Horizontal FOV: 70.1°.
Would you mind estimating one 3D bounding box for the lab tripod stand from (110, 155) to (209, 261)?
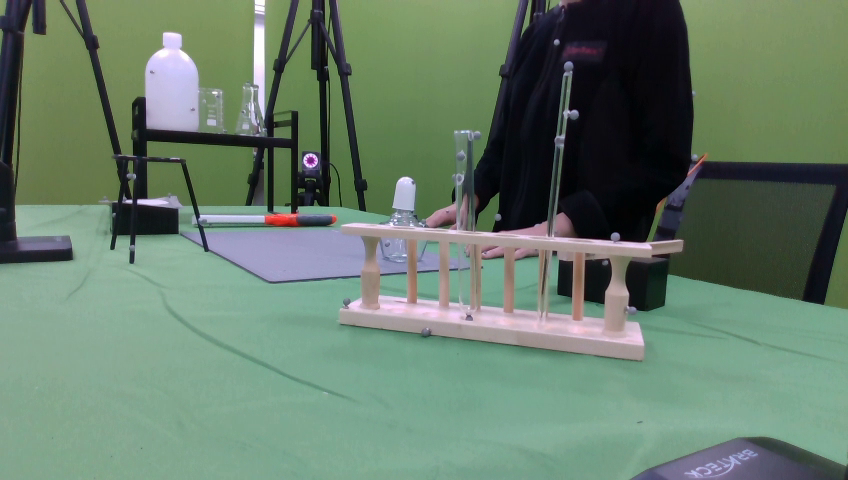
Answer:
[{"bbox_3d":[-0.361,-0.046,0.806,0.148,0.131,0.148,2,5,0],"label":"lab tripod stand"}]

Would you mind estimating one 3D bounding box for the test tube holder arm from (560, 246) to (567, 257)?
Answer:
[{"bbox_3d":[0.173,0.007,0.611,0.088,0.015,0.010,-3,9,-30],"label":"test tube holder arm"}]

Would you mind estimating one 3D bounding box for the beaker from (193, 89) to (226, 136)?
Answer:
[{"bbox_3d":[-0.485,-0.284,1.353,0.073,0.100,0.084,8,10,42],"label":"beaker"}]

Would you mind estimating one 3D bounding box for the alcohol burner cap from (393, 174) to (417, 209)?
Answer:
[{"bbox_3d":[-0.025,-0.067,0.834,0.034,0.048,0.034,8,7,-1],"label":"alcohol burner cap"}]

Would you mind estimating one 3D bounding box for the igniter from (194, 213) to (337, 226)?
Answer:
[{"bbox_3d":[-0.306,-0.041,1.197,0.278,0.025,0.057,-2,-2,-30],"label":"igniter"}]

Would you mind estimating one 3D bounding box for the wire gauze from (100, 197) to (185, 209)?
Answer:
[{"bbox_3d":[-0.469,-0.062,1.008,0.126,0.011,0.121,-2,8,-25],"label":"wire gauze"}]

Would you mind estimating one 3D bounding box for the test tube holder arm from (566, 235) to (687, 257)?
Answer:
[{"bbox_3d":[0.215,0.006,0.630,0.179,0.015,0.013,-3,9,-31],"label":"test tube holder arm"}]

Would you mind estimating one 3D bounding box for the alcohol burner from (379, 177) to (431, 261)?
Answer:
[{"bbox_3d":[-0.027,-0.031,0.838,0.078,0.119,0.078,0,6,0],"label":"alcohol burner"}]

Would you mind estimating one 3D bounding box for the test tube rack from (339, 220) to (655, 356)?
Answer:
[{"bbox_3d":[0.056,0.032,0.495,0.242,0.085,0.067,4,7,15],"label":"test tube rack"}]

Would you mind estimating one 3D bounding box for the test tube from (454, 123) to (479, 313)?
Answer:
[{"bbox_3d":[0.034,-0.016,0.477,0.017,0.150,0.017,-2,9,1],"label":"test tube"}]

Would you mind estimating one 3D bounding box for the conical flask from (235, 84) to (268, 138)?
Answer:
[{"bbox_3d":[-0.401,-0.299,1.406,0.075,0.122,0.075,2,7,0],"label":"conical flask"}]

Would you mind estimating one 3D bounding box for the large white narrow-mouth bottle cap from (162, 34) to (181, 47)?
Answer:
[{"bbox_3d":[-0.510,-0.402,1.224,0.038,0.024,0.037,2,7,0],"label":"large white narrow-mouth bottle cap"}]

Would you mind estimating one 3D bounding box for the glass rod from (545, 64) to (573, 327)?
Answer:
[{"bbox_3d":[0.101,-0.028,0.453,0.008,0.199,0.008,1,14,0],"label":"glass rod"}]

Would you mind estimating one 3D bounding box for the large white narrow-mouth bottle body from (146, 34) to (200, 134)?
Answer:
[{"bbox_3d":[-0.512,-0.318,1.234,0.102,0.194,0.102,2,7,0],"label":"large white narrow-mouth bottle body"}]
